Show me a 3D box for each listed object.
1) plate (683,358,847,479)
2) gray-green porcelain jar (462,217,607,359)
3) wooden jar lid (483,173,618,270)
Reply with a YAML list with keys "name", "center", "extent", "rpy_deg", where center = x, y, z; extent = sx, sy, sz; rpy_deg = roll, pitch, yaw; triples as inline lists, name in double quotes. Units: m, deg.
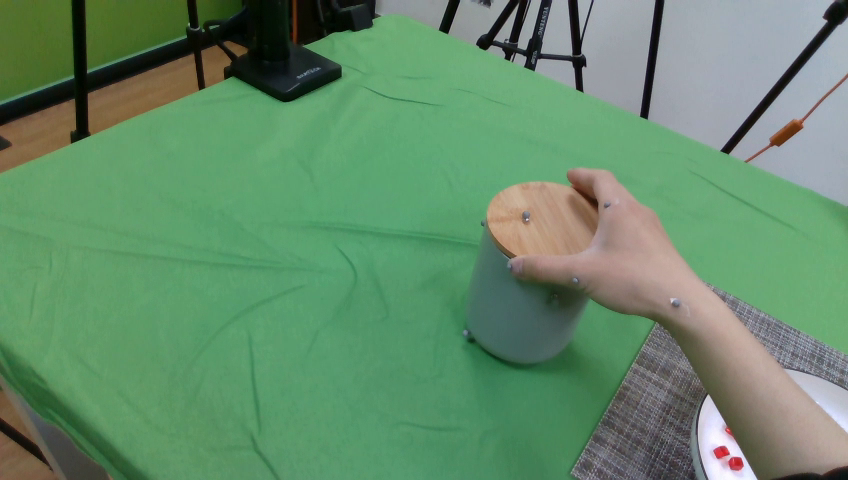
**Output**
- name: "plate"
  center: [0.305, 0.188, 0.478]
  extent: [0.208, 0.039, 0.205]
  rpy_deg: [6, 43, -5]
- name: "gray-green porcelain jar"
  center: [0.092, 0.035, 0.540]
  extent: [0.106, 0.127, 0.105]
  rpy_deg: [6, 43, -5]
- name: "wooden jar lid"
  center: [0.102, -0.014, 0.495]
  extent: [0.108, 0.021, 0.107]
  rpy_deg: [1, 47, -1]
